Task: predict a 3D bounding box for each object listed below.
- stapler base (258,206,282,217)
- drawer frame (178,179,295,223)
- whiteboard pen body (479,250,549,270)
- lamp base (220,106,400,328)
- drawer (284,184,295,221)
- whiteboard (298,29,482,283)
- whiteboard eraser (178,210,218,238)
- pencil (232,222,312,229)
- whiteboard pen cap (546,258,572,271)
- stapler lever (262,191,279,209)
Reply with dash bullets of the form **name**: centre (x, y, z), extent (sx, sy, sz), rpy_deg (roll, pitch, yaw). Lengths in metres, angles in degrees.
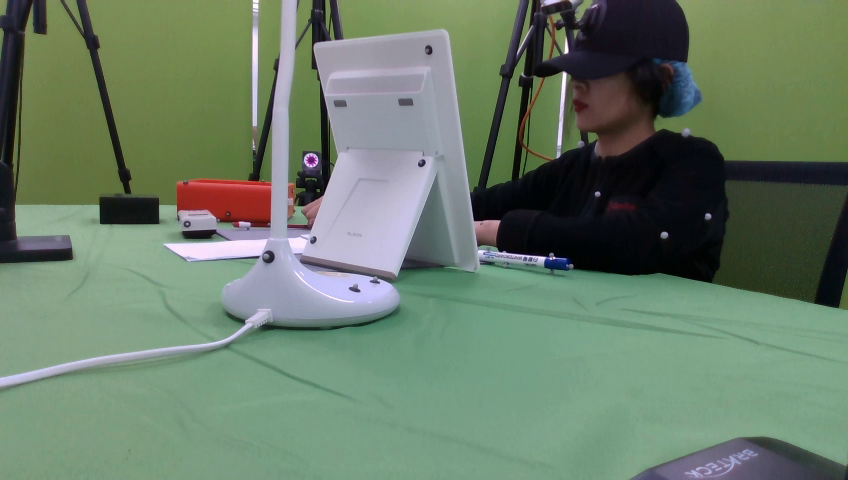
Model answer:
- **stapler base**: centre (-0.331, -0.065, 1.305), extent (0.041, 0.024, 0.130), rpy_deg (9, -2, -9)
- **drawer frame**: centre (-0.397, -0.088, 1.315), extent (0.214, 0.082, 0.201), rpy_deg (1, 8, -8)
- **whiteboard pen body**: centre (0.130, 0.028, 0.827), extent (0.140, 0.017, 0.017), rpy_deg (7, 8, 38)
- **lamp base**: centre (-0.101, -0.023, 0.531), extent (0.160, 0.180, 0.179), rpy_deg (4, 10, 10)
- **drawer**: centre (-0.394, -0.086, 1.317), extent (0.212, 0.073, 0.194), rpy_deg (1, 8, -7)
- **whiteboard**: centre (-0.075, -0.082, 0.742), extent (0.216, 0.305, 0.144), rpy_deg (9, 29, 37)
- **whiteboard eraser**: centre (-0.380, -0.027, 1.014), extent (0.056, 0.042, 0.112), rpy_deg (0, 8, -25)
- **pencil**: centre (-0.259, -0.026, 1.136), extent (0.195, 0.012, 0.012), rpy_deg (1, 7, -28)
- **whiteboard pen cap**: centre (0.175, 0.032, 0.790), extent (0.033, 0.018, 0.018), rpy_deg (3, 7, 37)
- **stapler lever**: centre (-0.329, -0.086, 1.306), extent (0.027, 0.040, 0.118), rpy_deg (9, 3, -9)
